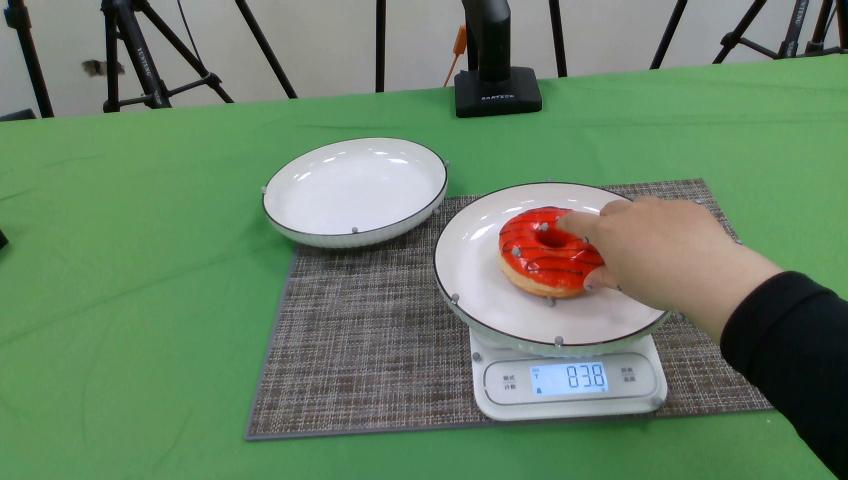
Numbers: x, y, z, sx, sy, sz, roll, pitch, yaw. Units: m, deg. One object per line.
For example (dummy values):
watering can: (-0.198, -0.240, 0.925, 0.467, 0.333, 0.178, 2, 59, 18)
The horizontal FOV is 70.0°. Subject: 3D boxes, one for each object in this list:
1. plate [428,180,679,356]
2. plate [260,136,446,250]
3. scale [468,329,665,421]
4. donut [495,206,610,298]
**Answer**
plate: (0.108, 0.022, 0.525, 0.207, 0.039, 0.205, -3, 40, 3)
plate: (-0.078, -0.053, 0.689, 0.209, 0.038, 0.207, -5, 38, 4)
scale: (0.112, 0.062, 0.529, 0.148, 0.032, 0.199, -4, 40, 3)
donut: (0.110, 0.010, 0.521, 0.099, 0.049, 0.098, -2, 41, 2)
